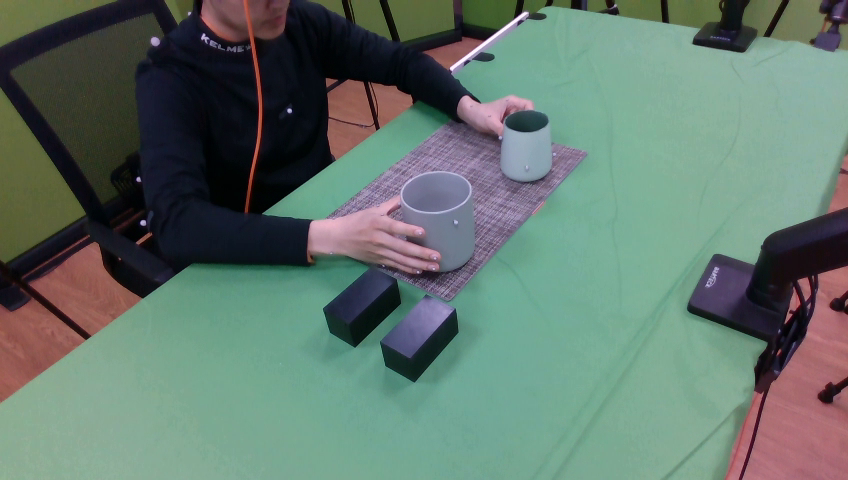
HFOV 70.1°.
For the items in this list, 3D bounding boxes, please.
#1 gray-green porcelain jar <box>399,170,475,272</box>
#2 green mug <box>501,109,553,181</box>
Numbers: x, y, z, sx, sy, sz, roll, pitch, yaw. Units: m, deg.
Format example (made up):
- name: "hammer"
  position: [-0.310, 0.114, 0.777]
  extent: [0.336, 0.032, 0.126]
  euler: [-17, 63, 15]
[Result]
- name: "gray-green porcelain jar"
  position: [0.023, -0.024, 0.907]
  extent: [0.106, 0.127, 0.105]
  euler: [-4, 41, 4]
- name: "green mug"
  position: [0.177, -0.177, 1.079]
  extent: [0.093, 0.105, 0.124]
  euler: [-13, 41, -6]
